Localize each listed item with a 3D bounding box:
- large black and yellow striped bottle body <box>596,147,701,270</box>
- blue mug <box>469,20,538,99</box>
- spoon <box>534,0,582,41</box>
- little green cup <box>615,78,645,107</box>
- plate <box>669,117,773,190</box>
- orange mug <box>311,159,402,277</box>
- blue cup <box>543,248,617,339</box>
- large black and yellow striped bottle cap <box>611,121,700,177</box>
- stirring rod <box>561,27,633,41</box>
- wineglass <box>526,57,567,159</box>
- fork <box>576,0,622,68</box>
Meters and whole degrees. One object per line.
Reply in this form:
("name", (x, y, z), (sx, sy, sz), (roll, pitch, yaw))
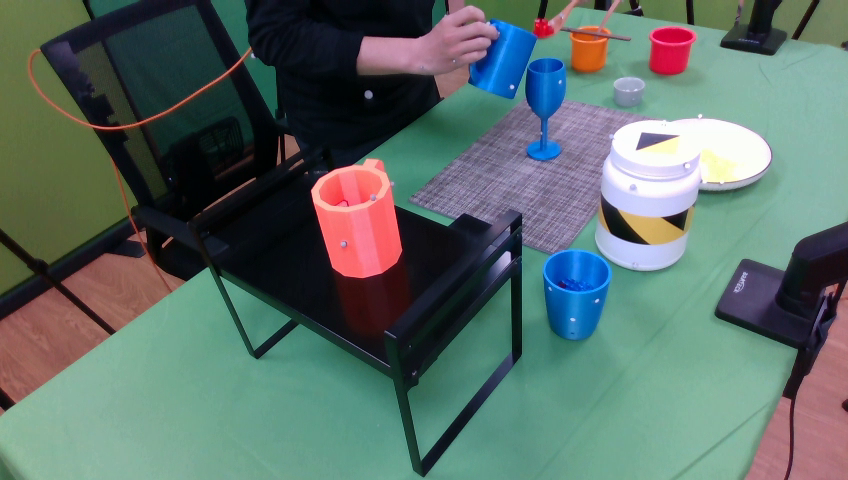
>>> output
("large black and yellow striped bottle body", (0.323, -0.063, 0.877), (0.131, 0.185, 0.130), (-4, 40, 4))
("blue mug", (0.118, -0.296, 0.984), (0.117, 0.106, 0.081), (1, 27, -44))
("spoon", (0.259, -0.397, 1.012), (0.194, 0.022, 0.041), (-44, 39, 0))
("little green cup", (0.426, -0.306, 1.257), (0.061, 0.039, 0.061), (-4, 40, 4))
("plate", (0.495, -0.148, 1.063), (0.209, 0.038, 0.208), (-5, 40, 4))
("orange mug", (-0.070, -0.034, 0.694), (0.083, 0.101, 0.126), (5, 46, 16))
("blue cup", (0.199, 0.076, 0.797), (0.092, 0.100, 0.092), (-4, 39, 4))
("large black and yellow striped bottle cap", (0.315, -0.126, 0.823), (0.115, 0.019, 0.114), (-4, 42, 4))
("stirring rod", (0.381, -0.463, 1.356), (0.175, 0.006, 0.014), (21, 48, 30))
("wineglass", (0.221, -0.236, 1.097), (0.074, 0.173, 0.073), (-5, 41, 4))
("fork", (0.409, -0.484, 1.381), (0.028, 0.019, 0.207), (37, 101, 46))
